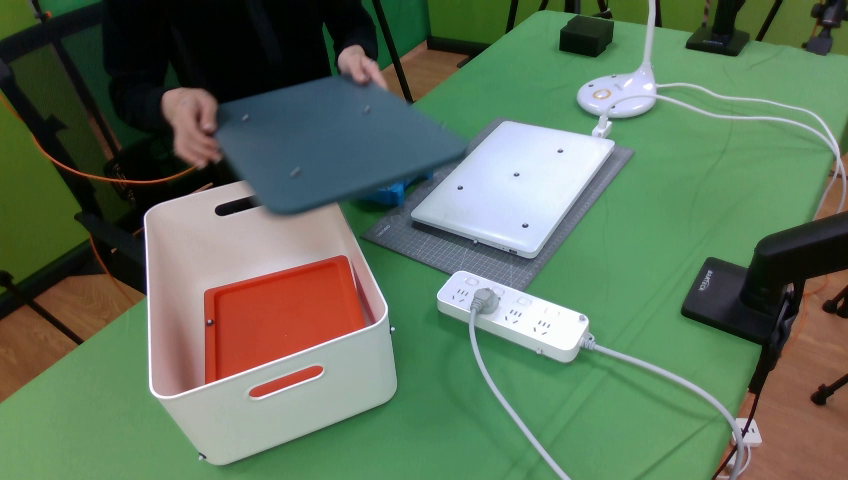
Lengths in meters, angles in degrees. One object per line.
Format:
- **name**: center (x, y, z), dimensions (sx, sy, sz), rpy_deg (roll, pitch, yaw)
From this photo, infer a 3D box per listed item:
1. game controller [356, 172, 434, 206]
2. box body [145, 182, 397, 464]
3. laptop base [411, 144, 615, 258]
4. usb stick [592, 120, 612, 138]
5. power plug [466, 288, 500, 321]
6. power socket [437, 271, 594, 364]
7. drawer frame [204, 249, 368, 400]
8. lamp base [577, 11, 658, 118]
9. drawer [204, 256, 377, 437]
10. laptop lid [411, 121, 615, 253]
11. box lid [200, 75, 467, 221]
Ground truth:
- **game controller**: center (-0.051, -0.120, 1.105), dimensions (0.096, 0.052, 0.155), rpy_deg (22, 48, 29)
- **box body**: center (-0.205, 0.080, 0.802), dimensions (0.255, 0.161, 0.361), rpy_deg (-18, 41, -13)
- **laptop base**: center (0.167, -0.102, 1.074), dimensions (0.234, 0.023, 0.355), rpy_deg (16, 45, 30)
- **usb stick**: center (0.335, -0.203, 1.149), dimensions (0.021, 0.027, 0.059), rpy_deg (25, 53, 26)
- **power plug**: center (0.072, 0.093, 0.813), dimensions (0.073, 0.053, 0.035), rpy_deg (-37, 49, -28)
- **power socket**: center (0.118, 0.102, 0.830), dimensions (0.225, 0.033, 0.072), rpy_deg (20, 48, 28)
- **drawer frame**: center (-0.173, 0.129, 0.791), dimensions (0.202, 0.083, 0.212), rpy_deg (-16, 45, -8)
- **lamp base**: center (0.406, -0.363, 1.222), dimensions (0.180, 0.181, 0.159), rpy_deg (-20, 42, -18)
- **drawer**: center (-0.178, 0.130, 0.787), dimensions (0.195, 0.073, 0.210), rpy_deg (-13, 39, -10)
- **laptop lid**: center (0.164, -0.112, 1.068), dimensions (0.240, 0.013, 0.357), rpy_deg (19, 46, 31)
- **box lid**: center (-0.138, -0.142, 0.816), dimensions (0.264, 0.015, 0.368), rpy_deg (-22, 37, -22)
